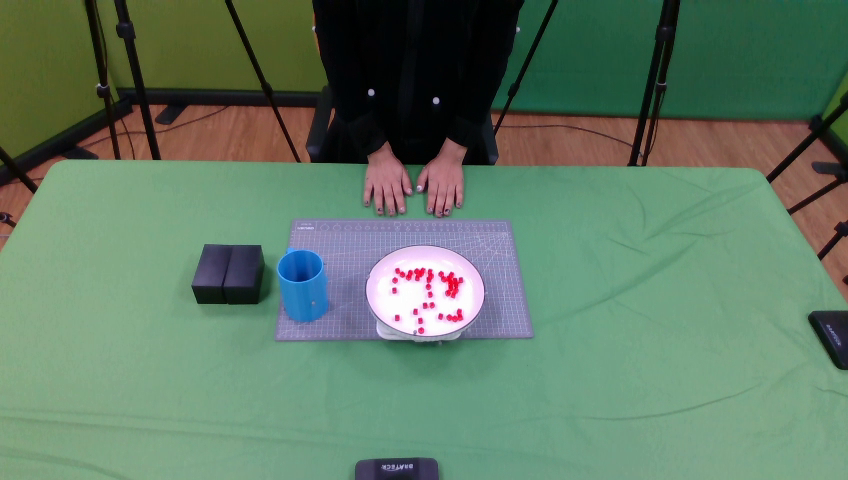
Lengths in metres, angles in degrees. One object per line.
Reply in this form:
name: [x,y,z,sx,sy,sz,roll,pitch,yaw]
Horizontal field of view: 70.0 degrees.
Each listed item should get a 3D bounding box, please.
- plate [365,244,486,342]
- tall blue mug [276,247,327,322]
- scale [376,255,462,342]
plate: [0.001,0.093,1.051,0.209,0.038,0.208,1,46,-1]
tall blue mug: [-0.221,0.072,1.049,0.107,0.108,0.077,30,52,22]
scale: [-0.010,0.096,1.094,0.149,0.032,0.199,2,46,-3]
